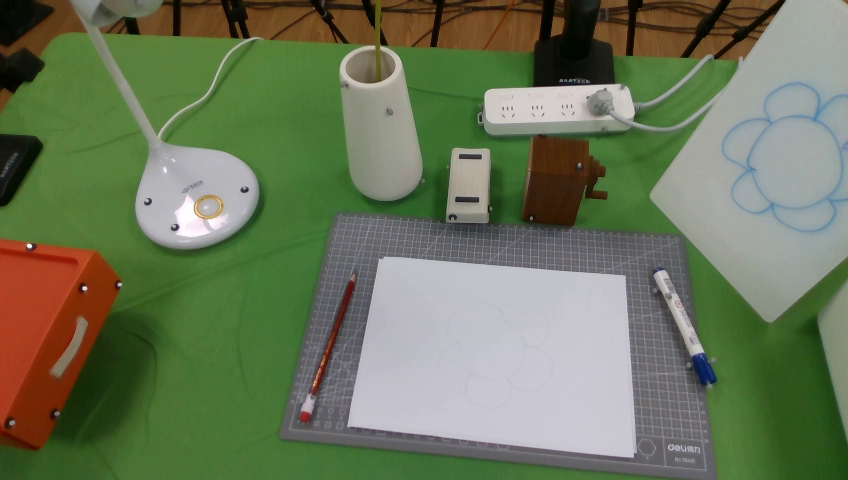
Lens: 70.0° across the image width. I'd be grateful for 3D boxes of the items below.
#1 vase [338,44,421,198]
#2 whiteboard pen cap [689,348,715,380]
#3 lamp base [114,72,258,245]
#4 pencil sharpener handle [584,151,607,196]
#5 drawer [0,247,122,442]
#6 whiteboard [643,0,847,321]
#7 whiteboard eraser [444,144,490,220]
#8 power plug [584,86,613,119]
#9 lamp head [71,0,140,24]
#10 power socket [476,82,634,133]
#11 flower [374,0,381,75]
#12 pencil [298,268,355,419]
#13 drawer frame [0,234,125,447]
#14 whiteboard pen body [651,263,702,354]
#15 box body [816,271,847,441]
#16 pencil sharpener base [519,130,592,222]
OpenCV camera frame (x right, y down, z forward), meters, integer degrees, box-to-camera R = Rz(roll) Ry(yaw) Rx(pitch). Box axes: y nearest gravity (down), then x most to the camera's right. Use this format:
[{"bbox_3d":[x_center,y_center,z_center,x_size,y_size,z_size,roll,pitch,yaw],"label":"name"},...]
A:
[{"bbox_3d":[-0.057,-0.141,0.749,0.098,0.202,0.097,-2,56,3],"label":"vase"},{"bbox_3d":[0.300,0.134,0.656,0.018,0.018,0.033,-10,57,-4],"label":"whiteboard pen cap"},{"bbox_3d":[-0.316,-0.110,0.750,0.178,0.182,0.160,33,64,25],"label":"lamp base"},{"bbox_3d":[0.213,-0.078,0.738,0.030,0.068,0.035,6,56,6],"label":"pencil sharpener handle"},{"bbox_3d":[-0.462,0.093,0.632,0.211,0.074,0.193,6,58,7],"label":"drawer"},{"bbox_3d":[0.436,-0.096,0.673,0.144,0.307,0.215,-13,55,-29],"label":"whiteboard"},{"bbox_3d":[0.058,-0.075,0.796,0.055,0.042,0.111,4,57,3],"label":"whiteboard eraser"},{"bbox_3d":[0.238,-0.180,0.834,0.035,0.053,0.072,8,59,8],"label":"power plug"},{"bbox_3d":[-0.280,-0.260,0.501,0.123,0.112,0.112,45,63,-15],"label":"lamp head"},{"bbox_3d":[0.188,-0.191,0.870,0.227,0.033,0.071,-1,58,1],"label":"power socket"},{"bbox_3d":[-0.052,-0.201,0.690,0.038,0.365,0.043,-5,39,-9],"label":"flower"},{"bbox_3d":[-0.108,0.112,0.698,0.012,0.012,0.192,10,57,9],"label":"pencil"},{"bbox_3d":[-0.468,0.094,0.633,0.213,0.083,0.200,7,58,5],"label":"drawer frame"},{"bbox_3d":[0.291,0.087,0.690,0.017,0.017,0.139,-10,57,-4],"label":"whiteboard pen body"},{"bbox_3d":[0.542,0.180,0.538,0.254,0.162,0.361,4,57,5],"label":"box body"},{"bbox_3d":[0.163,-0.077,0.754,0.076,0.108,0.061,6,57,6],"label":"pencil sharpener base"}]
